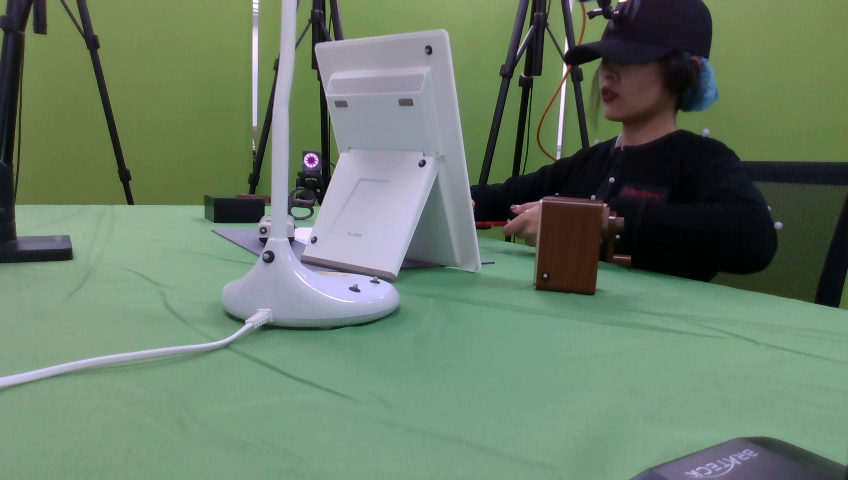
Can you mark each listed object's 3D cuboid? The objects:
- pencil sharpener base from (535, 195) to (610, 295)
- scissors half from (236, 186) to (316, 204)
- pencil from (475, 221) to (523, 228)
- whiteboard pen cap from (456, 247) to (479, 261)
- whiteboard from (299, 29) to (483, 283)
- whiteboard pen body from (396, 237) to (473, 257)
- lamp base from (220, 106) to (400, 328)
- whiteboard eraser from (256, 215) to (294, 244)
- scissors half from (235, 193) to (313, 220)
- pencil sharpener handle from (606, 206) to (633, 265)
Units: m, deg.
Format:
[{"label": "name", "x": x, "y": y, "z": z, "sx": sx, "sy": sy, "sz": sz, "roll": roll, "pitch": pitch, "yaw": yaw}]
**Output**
[{"label": "pencil sharpener base", "x": 0.172, "y": 0.005, "z": 0.695, "sx": 0.076, "sy": 0.107, "sz": 0.061, "roll": 5, "pitch": 7, "yaw": 16}, {"label": "scissors half", "x": -0.320, "y": -0.097, "z": 1.316, "sx": 0.176, "sy": 0.040, "sz": 0.013, "roll": -3, "pitch": 11, "yaw": -29}, {"label": "pencil", "x": 0.082, "y": -0.023, "z": 0.986, "sx": 0.195, "sy": 0.012, "sz": 0.012, "roll": -3, "pitch": 9, "yaw": -27}, {"label": "whiteboard pen cap", "x": 0.060, "y": 0.020, "z": 0.851, "sx": 0.033, "sy": 0.018, "sz": 0.018, "roll": 10, "pitch": 10, "yaw": 37}, {"label": "whiteboard", "x": -0.074, "y": -0.082, "z": 0.742, "sx": 0.216, "sy": 0.305, "sz": 0.144, "roll": 9, "pitch": 30, "yaw": 38}, {"label": "whiteboard pen body", "x": 0.014, "y": 0.012, "z": 0.886, "sx": 0.140, "sy": 0.017, "sz": 0.017, "roll": 10, "pitch": 10, "yaw": 38}, {"label": "lamp base", "x": -0.101, "y": -0.023, "z": 0.531, "sx": 0.160, "sy": 0.180, "sz": 0.179, "roll": 4, "pitch": 10, "yaw": 10}, {"label": "whiteboard eraser", "x": -0.232, "y": -0.016, "z": 0.951, "sx": 0.056, "sy": 0.042, "sz": 0.112, "roll": 2, "pitch": 7, "yaw": -12}, {"label": "scissors half", "x": -0.325, "y": -0.077, "z": 1.319, "sx": 0.176, "sy": 0.040, "sz": 0.012, "roll": 17, "pitch": 6, "yaw": -31}, {"label": "pencil sharpener handle", "x": 0.222, "y": -0.004, "z": 0.683, "sx": 0.030, "sy": 0.068, "sz": 0.036, "roll": 5, "pitch": 21, "yaw": 16}]
